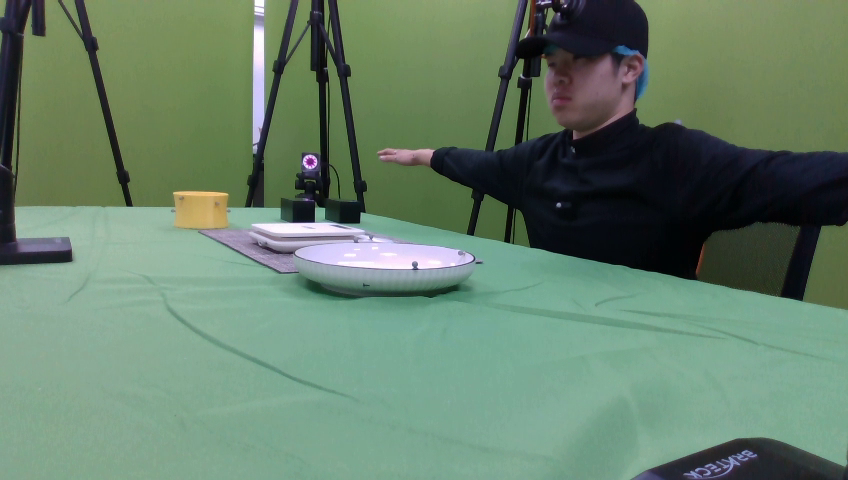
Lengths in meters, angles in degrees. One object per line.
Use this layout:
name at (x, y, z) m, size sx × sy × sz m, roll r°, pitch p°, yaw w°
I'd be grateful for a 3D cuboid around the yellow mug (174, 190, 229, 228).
yellow mug at (-0.427, -0.063, 1.189) m, size 0.100 × 0.064 × 0.131 m, roll 5°, pitch 7°, yaw 13°

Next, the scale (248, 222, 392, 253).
scale at (-0.162, -0.006, 0.954) m, size 0.202 × 0.031 × 0.148 m, roll -1°, pitch 9°, yaw -32°

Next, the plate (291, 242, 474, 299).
plate at (-0.047, 0.033, 0.693) m, size 0.209 × 0.038 × 0.209 m, roll 3°, pitch 7°, yaw 0°
